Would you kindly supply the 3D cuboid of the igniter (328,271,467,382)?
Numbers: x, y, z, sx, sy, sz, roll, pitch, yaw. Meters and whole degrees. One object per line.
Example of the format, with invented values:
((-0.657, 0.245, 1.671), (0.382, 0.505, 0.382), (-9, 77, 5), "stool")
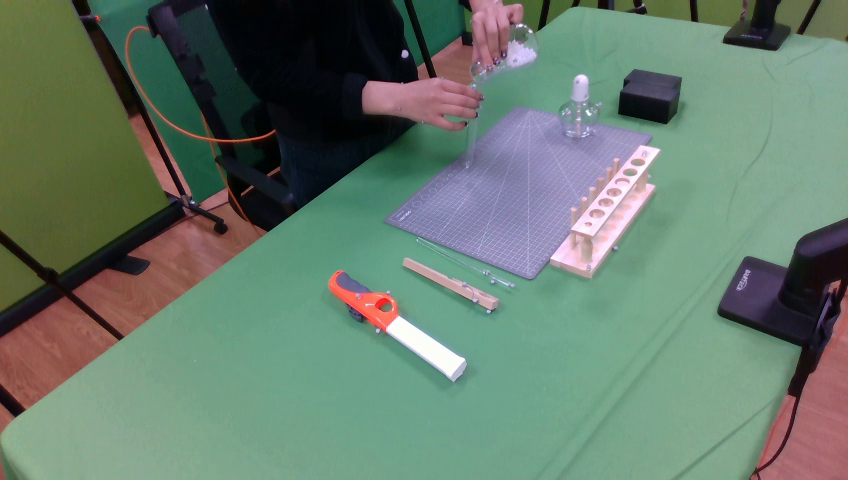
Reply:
((-0.049, 0.114, 0.854), (0.274, 0.025, 0.057), (29, 63, 37), "igniter")

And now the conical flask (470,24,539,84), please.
((0.133, -0.312, 1.038), (0.122, 0.076, 0.074), (-37, 47, -22), "conical flask")

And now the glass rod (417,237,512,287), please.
((0.059, 0.032, 0.945), (0.198, 0.008, 0.008), (26, 52, 38), "glass rod")

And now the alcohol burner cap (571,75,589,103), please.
((0.294, -0.285, 1.132), (0.034, 0.048, 0.033), (-4, 46, 5), "alcohol burner cap")

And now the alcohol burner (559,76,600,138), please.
((0.298, -0.258, 1.156), (0.078, 0.119, 0.077), (-4, 39, 4), "alcohol burner")

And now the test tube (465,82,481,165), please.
((0.085, -0.201, 1.061), (0.017, 0.150, 0.017), (3, 30, -1), "test tube")

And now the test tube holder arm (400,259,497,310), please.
((0.033, 0.064, 0.902), (0.177, 0.015, 0.013), (23, 14, 32), "test tube holder arm")

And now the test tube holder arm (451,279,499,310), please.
((0.071, 0.079, 0.882), (0.087, 0.015, 0.010), (23, 14, 34), "test tube holder arm")

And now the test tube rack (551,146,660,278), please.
((0.286, -0.053, 0.943), (0.066, 0.085, 0.243), (21, 49, 32), "test tube rack")
